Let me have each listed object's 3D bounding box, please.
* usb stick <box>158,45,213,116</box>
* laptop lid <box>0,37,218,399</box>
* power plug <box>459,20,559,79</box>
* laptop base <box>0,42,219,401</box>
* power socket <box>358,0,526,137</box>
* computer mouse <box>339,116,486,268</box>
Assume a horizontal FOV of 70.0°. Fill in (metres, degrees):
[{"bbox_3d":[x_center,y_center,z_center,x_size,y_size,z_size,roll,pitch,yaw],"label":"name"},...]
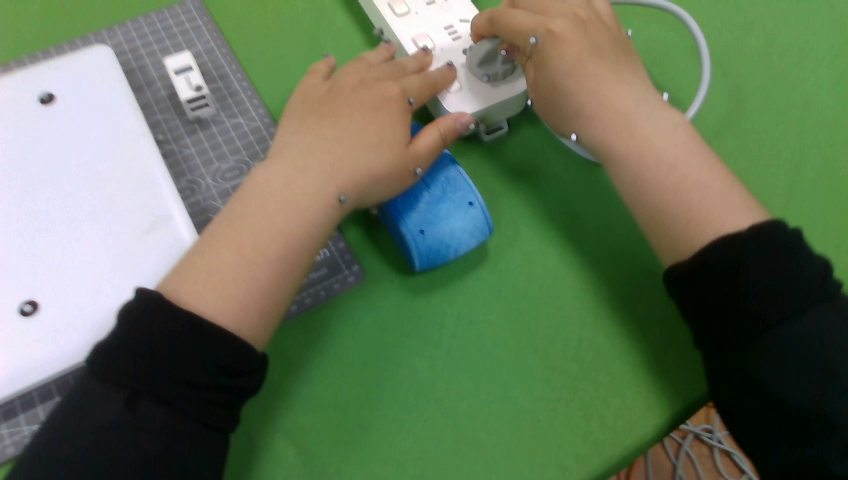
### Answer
[{"bbox_3d":[-0.176,-0.121,0.443,0.021,0.027,0.058,-25,64,-12],"label":"usb stick"},{"bbox_3d":[-0.331,0.015,0.361,0.357,0.013,0.240,-25,69,-14],"label":"laptop lid"},{"bbox_3d":[0.062,-0.131,0.442,0.073,0.053,0.035,-1,56,-16],"label":"power plug"},{"bbox_3d":[-0.333,0.019,0.372,0.354,0.023,0.234,-26,71,-15],"label":"laptop base"},{"bbox_3d":[0.000,-0.176,0.479,0.072,0.033,0.225,-25,67,-13],"label":"power socket"},{"bbox_3d":[-0.010,-0.038,0.407,0.063,0.041,0.116,-26,64,-13],"label":"computer mouse"}]
